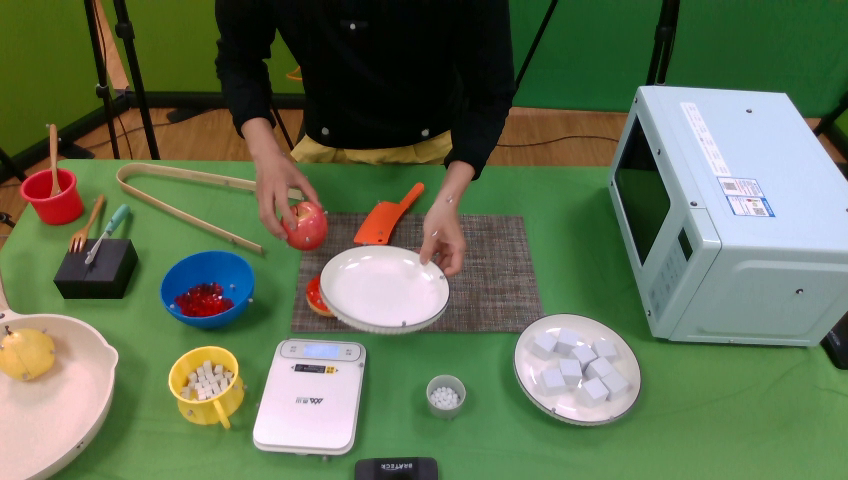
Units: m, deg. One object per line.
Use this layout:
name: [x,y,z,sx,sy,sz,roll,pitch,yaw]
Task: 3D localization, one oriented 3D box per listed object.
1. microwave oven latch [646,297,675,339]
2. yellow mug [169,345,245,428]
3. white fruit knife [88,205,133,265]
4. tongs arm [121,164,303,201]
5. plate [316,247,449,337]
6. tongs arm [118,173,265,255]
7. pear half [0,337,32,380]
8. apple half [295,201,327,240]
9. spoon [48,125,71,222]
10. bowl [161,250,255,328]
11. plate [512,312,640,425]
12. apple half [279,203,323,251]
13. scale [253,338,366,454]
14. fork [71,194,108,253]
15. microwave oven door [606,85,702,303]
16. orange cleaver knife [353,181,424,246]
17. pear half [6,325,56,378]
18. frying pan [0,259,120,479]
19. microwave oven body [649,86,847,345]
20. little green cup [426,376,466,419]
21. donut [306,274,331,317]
microwave oven latch: [0.412,0.134,1.061,0.030,0.029,0.078,4,45,1]
yellow mug: [-0.322,0.230,0.922,0.100,0.064,0.130,-24,53,-25]
white fruit knife: [-0.584,-0.013,1.129,0.016,0.027,0.206,0,31,-5]
tongs arm: [-0.444,-0.113,1.267,0.384,0.026,0.050,12,51,7]
plate: [-0.066,0.084,0.954,0.209,0.038,0.208,7,34,-5]
tongs arm: [-0.473,-0.053,1.212,0.386,0.028,0.028,23,57,17]
pear half: [-0.631,0.184,0.921,0.070,0.088,0.031,29,49,19]
apple half: [-0.191,-0.037,1.059,0.081,0.082,0.033,36,61,27]
spoon: [-0.718,-0.131,1.188,0.041,0.021,0.193,-3,90,-7]
bowl: [-0.362,0.098,1.039,0.151,0.077,0.150,2,45,-2]
plate: [0.246,0.213,0.999,0.208,0.039,0.206,2,46,-2]
apple half: [-0.218,-0.016,1.040,0.080,0.075,0.053,35,60,28]
scale: [-0.175,0.236,0.951,0.149,0.032,0.199,4,45,-1]
fork: [-0.634,-0.036,1.158,0.028,0.019,0.206,-8,32,-8]
microwave oven door: [0.422,-0.094,1.140,0.039,0.245,0.353,2,46,-1]
orange cleaver knife: [-0.070,-0.059,1.246,0.077,0.012,0.210,17,50,22]
pear half: [-0.608,0.158,0.935,0.076,0.110,0.056,31,51,20]
frying pan: [-0.647,0.164,0.936,0.307,0.103,0.485,-19,58,-22]
microwave oven body: [0.567,-0.053,1.118,0.326,0.261,0.439,2,45,-1]
little green cup: [0.033,0.248,0.950,0.061,0.039,0.061,2,46,-2]
donut: [-0.160,0.094,1.075,0.099,0.048,0.098,4,46,-4]
